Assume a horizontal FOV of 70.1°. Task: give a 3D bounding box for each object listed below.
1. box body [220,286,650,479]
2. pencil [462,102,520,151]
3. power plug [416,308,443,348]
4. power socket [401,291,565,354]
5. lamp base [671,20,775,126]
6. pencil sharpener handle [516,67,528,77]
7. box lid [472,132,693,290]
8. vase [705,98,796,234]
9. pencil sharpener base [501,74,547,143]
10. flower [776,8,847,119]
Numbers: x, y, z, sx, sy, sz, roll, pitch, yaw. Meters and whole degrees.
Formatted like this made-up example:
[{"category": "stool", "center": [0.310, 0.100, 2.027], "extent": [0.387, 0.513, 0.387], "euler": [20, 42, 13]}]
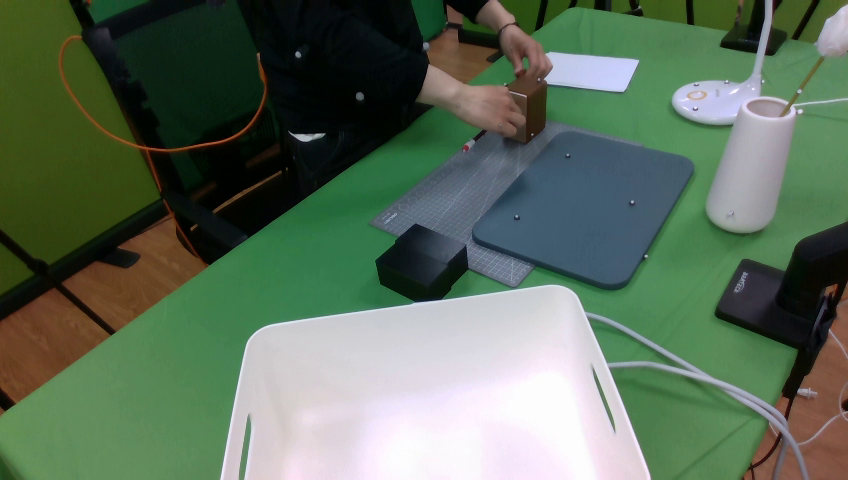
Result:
[{"category": "box body", "center": [0.006, 0.210, 0.618], "extent": [0.364, 0.161, 0.252], "euler": [-8, 40, -1]}, {"category": "pencil", "center": [0.130, -0.213, 1.093], "extent": [0.012, 0.012, 0.194], "euler": [26, 53, 33]}, {"category": "power plug", "center": [0.005, 0.121, 0.786], "extent": [0.035, 0.053, 0.072], "euler": [2, 46, 8]}, {"category": "power socket", "center": [0.080, 0.111, 0.823], "extent": [0.227, 0.033, 0.072], "euler": [-5, 41, 1]}, {"category": "lamp base", "center": [0.581, -0.332, 1.153], "extent": [0.179, 0.181, 0.160], "euler": [2, 41, 7]}, {"category": "pencil sharpener handle", "center": [0.214, -0.315, 1.187], "extent": [0.067, 0.036, 0.031], "euler": [39, 56, 15]}, {"category": "box lid", "center": [0.273, -0.068, 1.020], "extent": [0.261, 0.015, 0.372], "euler": [20, 47, 28]}, {"category": "vase", "center": [0.480, -0.104, 0.889], "extent": [0.098, 0.201, 0.097], "euler": [-4, 42, 4]}, {"category": "pencil sharpener base", "center": [0.196, -0.256, 1.174], "extent": [0.061, 0.107, 0.077], "euler": [25, 50, 32]}, {"category": "flower", "center": [0.476, -0.156, 0.822], "extent": [0.038, 0.362, 0.044], "euler": [8, 58, 2]}]
